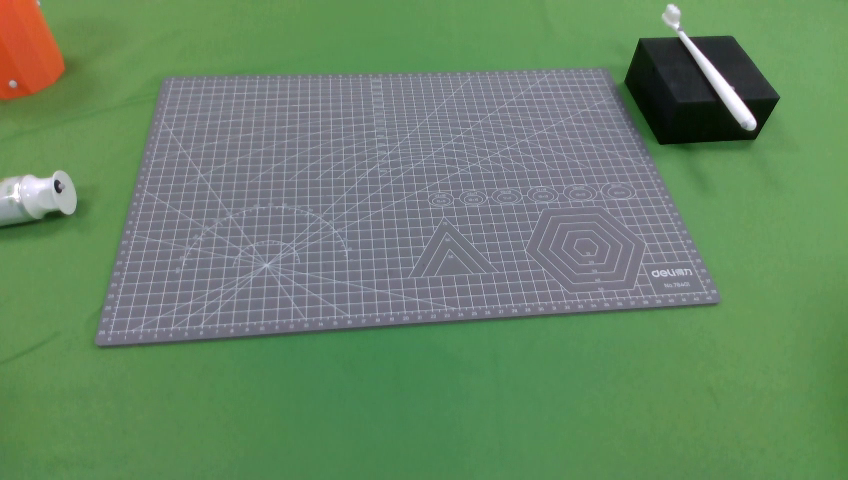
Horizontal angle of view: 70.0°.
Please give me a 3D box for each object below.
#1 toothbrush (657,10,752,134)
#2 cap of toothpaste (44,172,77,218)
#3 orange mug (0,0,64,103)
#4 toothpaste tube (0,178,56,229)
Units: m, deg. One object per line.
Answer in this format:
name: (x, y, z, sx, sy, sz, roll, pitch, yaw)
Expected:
toothbrush: (0.260, -0.162, 0.566, 0.014, 0.017, 0.180, -3, 51, -12)
cap of toothpaste: (-0.282, -0.034, 0.469, 0.011, 0.037, 0.037, -10, 51, -8)
orange mug: (-0.404, -0.180, 0.541, 0.083, 0.101, 0.126, 30, 50, 19)
toothpaste tube: (-0.360, -0.023, 0.462, 0.165, 0.035, 0.054, -10, 47, -7)
